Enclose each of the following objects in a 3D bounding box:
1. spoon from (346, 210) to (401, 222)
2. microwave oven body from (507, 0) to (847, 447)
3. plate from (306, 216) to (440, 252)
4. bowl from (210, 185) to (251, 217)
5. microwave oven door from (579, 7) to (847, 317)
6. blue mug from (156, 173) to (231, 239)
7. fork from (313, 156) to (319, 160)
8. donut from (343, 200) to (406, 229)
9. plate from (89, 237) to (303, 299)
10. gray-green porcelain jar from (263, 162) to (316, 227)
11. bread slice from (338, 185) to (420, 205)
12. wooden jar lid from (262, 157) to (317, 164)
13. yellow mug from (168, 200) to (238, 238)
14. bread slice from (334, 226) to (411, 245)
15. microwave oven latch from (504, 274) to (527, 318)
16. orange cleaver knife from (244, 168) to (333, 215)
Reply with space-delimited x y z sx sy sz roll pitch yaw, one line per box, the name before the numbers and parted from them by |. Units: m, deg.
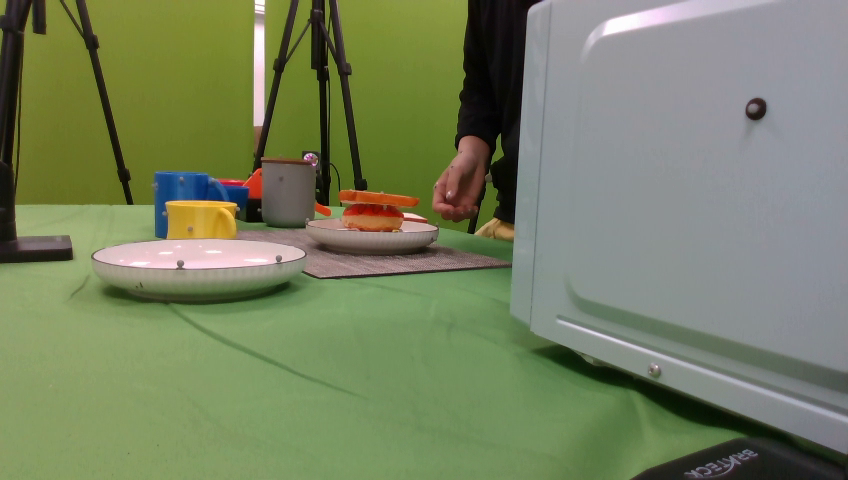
spoon | -0.121 -0.060 1.400 0.042 0.021 0.192 -27 24 -38
microwave oven body | 0.331 -0.042 0.425 0.444 0.260 0.324 -2 8 -31
plate | -0.080 -0.011 0.949 0.209 0.038 0.209 2 7 0
bowl | -0.408 -0.064 1.155 0.151 0.077 0.151 2 8 0
microwave oven door | 0.294 -0.067 0.570 0.358 0.243 0.039 -3 9 -31
blue mug | -0.381 -0.057 1.004 0.117 0.106 0.082 0 8 -12
fork | -0.331 -0.144 1.506 0.207 0.018 0.028 -42 -18 22
donut | -0.078 -0.039 0.946 0.099 0.048 0.099 0 8 0
plate | -0.233 0.029 0.637 0.208 0.039 0.207 2 7 0
gray-green porcelain jar | -0.271 -0.092 1.217 0.106 0.126 0.106 2 7 0
bread slice | -0.080 -0.069 0.938 0.107 0.018 0.134 6 0 -22
wooden jar lid | -0.269 -0.154 1.208 0.108 0.020 0.108 3 4 0
yellow mug | -0.320 -0.023 0.904 0.130 0.064 0.100 9 11 36
bread slice | -0.075 -0.008 0.937 0.105 0.019 0.131 0 7 -20
microwave oven latch | 0.100 0.041 0.471 0.079 0.029 0.030 -1 8 -28
orange cleaver knife | -0.300 -0.089 1.351 0.212 0.077 0.012 28 -9 -34
